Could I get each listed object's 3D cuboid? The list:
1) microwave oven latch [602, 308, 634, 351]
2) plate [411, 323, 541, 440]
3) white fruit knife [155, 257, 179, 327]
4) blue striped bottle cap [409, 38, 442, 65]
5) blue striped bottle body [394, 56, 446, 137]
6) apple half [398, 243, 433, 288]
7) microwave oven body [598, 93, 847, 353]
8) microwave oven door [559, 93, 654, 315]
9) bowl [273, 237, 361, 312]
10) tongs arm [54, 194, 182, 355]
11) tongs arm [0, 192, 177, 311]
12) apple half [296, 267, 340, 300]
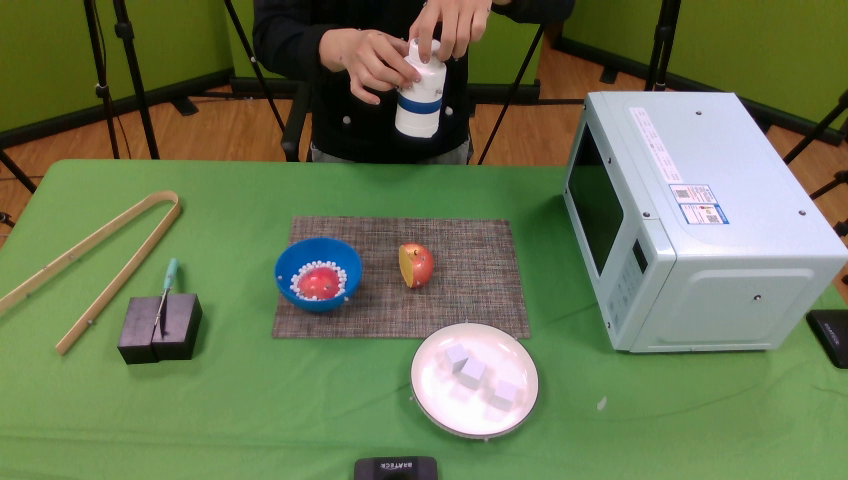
[{"bbox_3d":[0.332,0.153,1.044,0.030,0.029,0.078,-1,45,-4],"label":"microwave oven latch"},{"bbox_3d":[0.082,0.228,0.976,0.208,0.039,0.206,2,45,-2],"label":"plate"},{"bbox_3d":[-0.440,0.085,1.037,0.016,0.027,0.206,10,26,-19],"label":"white fruit knife"},{"bbox_3d":[0.003,-0.253,0.809,0.044,0.021,0.044,4,39,-3],"label":"blue striped bottle cap"},{"bbox_3d":[-0.005,-0.211,0.843,0.063,0.121,0.062,7,39,-5],"label":"blue striped bottle body"},{"bbox_3d":[-0.012,0.046,1.115,0.053,0.075,0.080,-11,44,-19],"label":"apple half"},{"bbox_3d":[0.475,-0.041,1.109,0.326,0.261,0.438,-1,45,-4],"label":"microwave oven body"},{"bbox_3d":[0.327,-0.074,1.123,0.039,0.245,0.353,0,46,-5],"label":"microwave oven door"},{"bbox_3d":[-0.186,0.074,1.069,0.151,0.077,0.150,3,46,-3],"label":"bowl"},{"bbox_3d":[-0.543,0.049,1.108,0.028,0.028,0.385,11,46,9],"label":"tongs arm"},{"bbox_3d":[-0.618,0.019,1.124,0.050,0.026,0.384,24,47,16],"label":"tongs arm"},{"bbox_3d":[-0.187,0.070,1.067,0.081,0.033,0.081,2,47,-2],"label":"apple half"}]
